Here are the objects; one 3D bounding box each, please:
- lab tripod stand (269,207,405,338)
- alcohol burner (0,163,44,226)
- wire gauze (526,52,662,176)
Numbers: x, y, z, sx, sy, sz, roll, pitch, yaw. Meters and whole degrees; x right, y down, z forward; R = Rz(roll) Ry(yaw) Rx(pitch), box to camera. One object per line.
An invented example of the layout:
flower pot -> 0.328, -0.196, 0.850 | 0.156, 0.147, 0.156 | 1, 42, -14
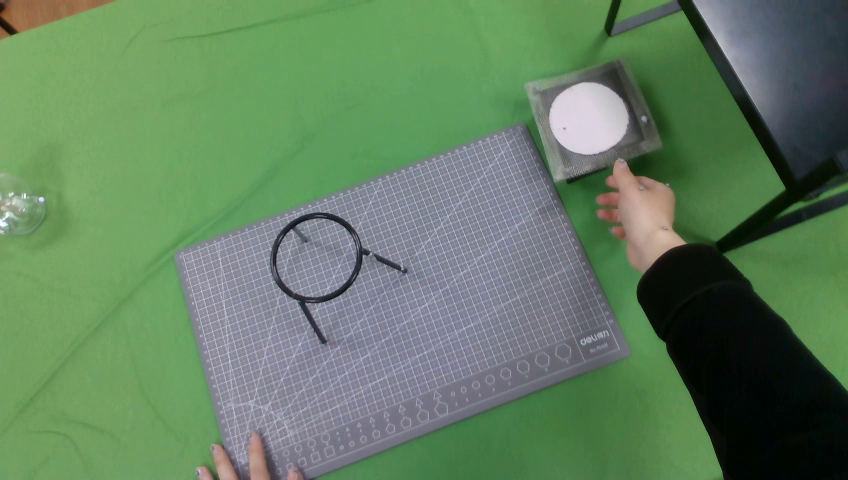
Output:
lab tripod stand -> -0.102, 0.025, 0.636 | 0.148, 0.132, 0.147 | -1, 76, 6
alcohol burner -> -0.503, -0.058, 0.699 | 0.078, 0.119, 0.077 | -1, 77, 4
wire gauze -> 0.187, -0.143, 0.674 | 0.121, 0.011, 0.124 | -15, 75, 2
